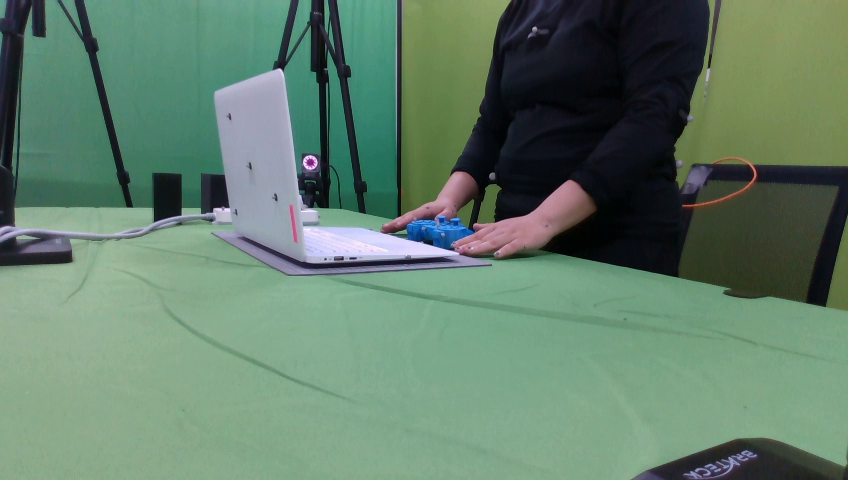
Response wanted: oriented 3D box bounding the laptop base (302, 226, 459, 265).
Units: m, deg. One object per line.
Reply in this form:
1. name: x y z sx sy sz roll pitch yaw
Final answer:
1. laptop base: -0.136 0.007 0.951 0.237 0.023 0.352 2 6 -32

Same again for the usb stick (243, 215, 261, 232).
1. usb stick: -0.302 -0.029 1.071 0.021 0.027 0.059 0 12 -30

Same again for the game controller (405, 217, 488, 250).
1. game controller: 0.034 -0.013 1.067 0.097 0.051 0.154 -7 10 -29

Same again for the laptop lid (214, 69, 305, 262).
1. laptop lid: -0.246 -0.107 0.865 0.013 0.241 0.355 -11 14 -30

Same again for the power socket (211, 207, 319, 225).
1. power socket: -0.334 -0.051 1.281 0.228 0.032 0.072 -1 9 -29

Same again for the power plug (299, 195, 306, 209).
1. power plug: -0.283 -0.075 1.342 0.035 0.052 0.072 0 4 -18
